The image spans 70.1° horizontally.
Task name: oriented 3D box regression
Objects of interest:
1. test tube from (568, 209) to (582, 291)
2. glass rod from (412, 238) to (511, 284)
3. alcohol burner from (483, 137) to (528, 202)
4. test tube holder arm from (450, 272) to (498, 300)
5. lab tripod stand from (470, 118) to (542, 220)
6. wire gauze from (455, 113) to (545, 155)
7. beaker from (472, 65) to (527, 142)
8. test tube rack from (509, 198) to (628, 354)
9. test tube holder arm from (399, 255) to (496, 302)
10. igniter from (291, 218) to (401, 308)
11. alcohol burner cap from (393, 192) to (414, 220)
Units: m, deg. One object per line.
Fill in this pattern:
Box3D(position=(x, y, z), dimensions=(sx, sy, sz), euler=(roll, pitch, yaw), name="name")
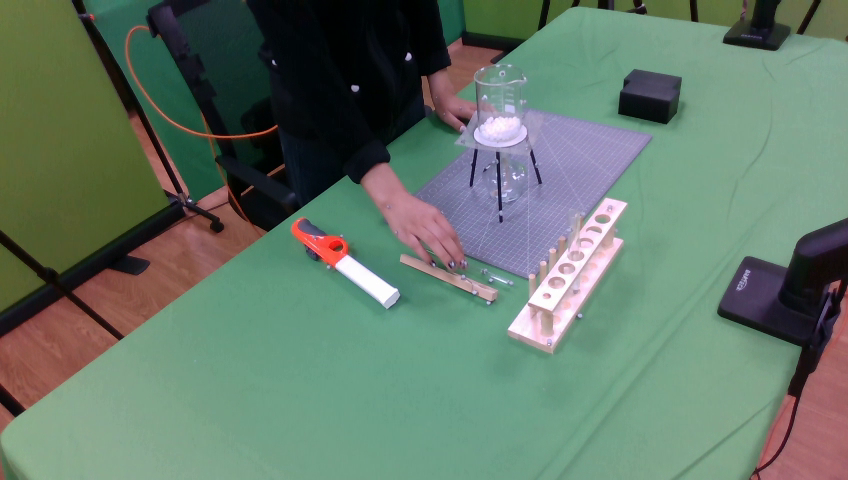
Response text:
Box3D(position=(0.200, 0.017, 0.799), dimensions=(0.017, 0.151, 0.017), euler=(-8, 45, 8), name="test tube")
Box3D(position=(0.054, 0.032, 0.946), dimensions=(0.198, 0.008, 0.008), euler=(23, 50, 36), name="glass rod")
Box3D(position=(0.138, -0.125, 1.030), dimensions=(0.078, 0.119, 0.077), euler=(-4, 41, 4), name="alcohol burner")
Box3D(position=(0.071, 0.068, 0.895), dimensions=(0.087, 0.015, 0.010), euler=(21, 15, 33), name="test tube holder arm")
Box3D(position=(0.135, -0.128, 1.019), dimensions=(0.148, 0.132, 0.147), euler=(-5, 38, 5), name="lab tripod stand")
Box3D(position=(0.124, -0.175, 0.973), dimensions=(0.124, 0.011, 0.121), euler=(8, 39, 21), name="wire gauze")
Box3D(position=(0.120, -0.211, 0.942), dimensions=(0.083, 0.101, 0.074), euler=(10, 42, 21), name="beaker")
Box3D(position=(0.206, 0.039, 0.850), dimensions=(0.066, 0.085, 0.243), euler=(20, 48, 31), name="test tube rack")
Box3D(position=(0.032, 0.055, 0.914), dimensions=(0.177, 0.015, 0.013), euler=(21, 15, 32), name="test tube holder arm")
Box3D(position=(-0.135, 0.031, 0.970), dimensions=(0.057, 0.025, 0.274), euler=(-42, 49, -20), name="igniter")
Box3D(position=(-0.038, -0.061, 1.043), dimensions=(0.034, 0.048, 0.033), euler=(-5, 40, 5), name="alcohol burner cap")
